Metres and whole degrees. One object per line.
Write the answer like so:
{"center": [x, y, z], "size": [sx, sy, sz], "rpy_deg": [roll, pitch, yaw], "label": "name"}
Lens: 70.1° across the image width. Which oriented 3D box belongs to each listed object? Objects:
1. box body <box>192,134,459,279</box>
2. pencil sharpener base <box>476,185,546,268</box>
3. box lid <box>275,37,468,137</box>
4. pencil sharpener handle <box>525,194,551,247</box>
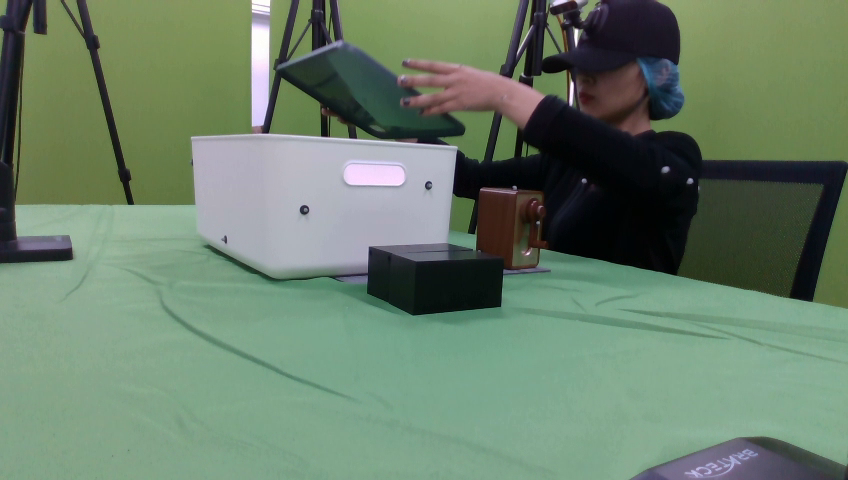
{"center": [-0.154, -0.059, 0.840], "size": [0.255, 0.160, 0.362], "rpy_deg": [-2, 9, -33], "label": "box body"}
{"center": [0.120, -0.019, 0.825], "size": [0.062, 0.107, 0.076], "rpy_deg": [-3, 10, -40], "label": "pencil sharpener base"}
{"center": [-0.107, -0.258, 1.090], "size": [0.264, 0.015, 0.369], "rpy_deg": [29, -8, -31], "label": "box lid"}
{"center": [0.153, -0.025, 0.784], "size": [0.036, 0.067, 0.030], "rpy_deg": [0, 8, -41], "label": "pencil sharpener handle"}
